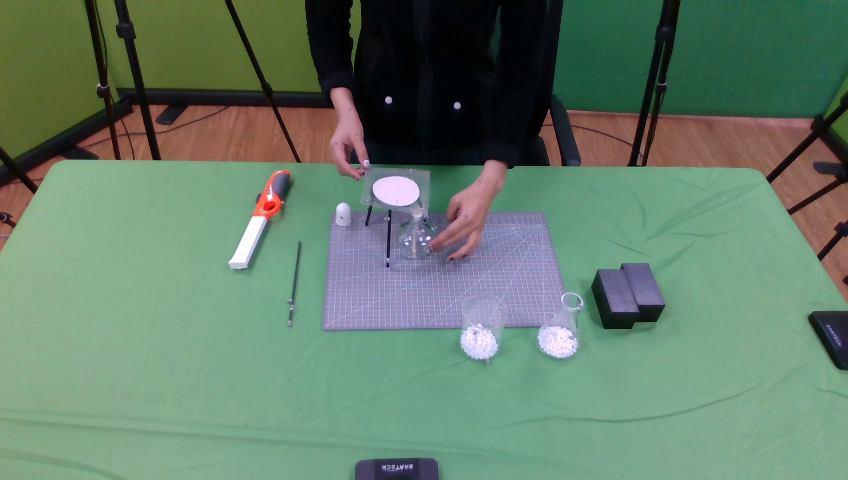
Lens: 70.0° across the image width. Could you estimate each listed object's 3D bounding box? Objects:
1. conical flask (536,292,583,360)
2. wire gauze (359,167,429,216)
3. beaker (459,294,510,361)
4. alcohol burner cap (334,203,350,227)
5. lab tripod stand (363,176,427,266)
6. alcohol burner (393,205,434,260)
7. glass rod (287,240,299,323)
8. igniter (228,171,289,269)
[{"bbox_3d":[0.234,0.139,1.015,0.075,0.122,0.075,2,46,-2],"label":"conical flask"},{"bbox_3d":[-0.053,-0.094,1.111,0.125,0.011,0.121,7,43,-3],"label":"wire gauze"},{"bbox_3d":[0.095,0.147,1.012,0.083,0.101,0.074,26,49,21],"label":"beaker"},{"bbox_3d":[-0.166,-0.054,1.221,0.034,0.048,0.033,3,46,-2],"label":"alcohol burner cap"},{"bbox_3d":[-0.058,-0.047,1.159,0.148,0.132,0.147,3,44,-2],"label":"lab tripod stand"},{"bbox_3d":[-0.018,-0.020,1.150,0.078,0.119,0.077,3,45,-3],"label":"alcohol burner"},{"bbox_3d":[-0.242,0.072,1.119,0.008,0.008,0.198,-1,47,-5],"label":"glass rod"},{"bbox_3d":[-0.328,-0.049,1.218,0.057,0.025,0.275,1,45,11],"label":"igniter"}]
